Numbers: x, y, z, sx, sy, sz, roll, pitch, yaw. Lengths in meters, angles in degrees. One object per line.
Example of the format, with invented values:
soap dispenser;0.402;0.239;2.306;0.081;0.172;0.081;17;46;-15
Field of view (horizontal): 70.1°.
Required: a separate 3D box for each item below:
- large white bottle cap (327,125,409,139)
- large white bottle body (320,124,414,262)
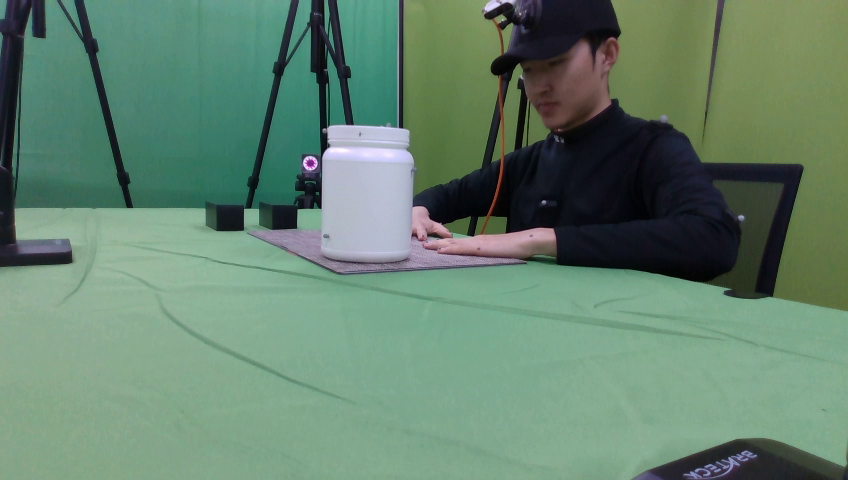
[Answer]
large white bottle cap;-0.078;-0.151;0.852;0.115;0.018;0.115;1;8;0
large white bottle body;-0.081;-0.069;0.864;0.131;0.184;0.130;2;7;0
